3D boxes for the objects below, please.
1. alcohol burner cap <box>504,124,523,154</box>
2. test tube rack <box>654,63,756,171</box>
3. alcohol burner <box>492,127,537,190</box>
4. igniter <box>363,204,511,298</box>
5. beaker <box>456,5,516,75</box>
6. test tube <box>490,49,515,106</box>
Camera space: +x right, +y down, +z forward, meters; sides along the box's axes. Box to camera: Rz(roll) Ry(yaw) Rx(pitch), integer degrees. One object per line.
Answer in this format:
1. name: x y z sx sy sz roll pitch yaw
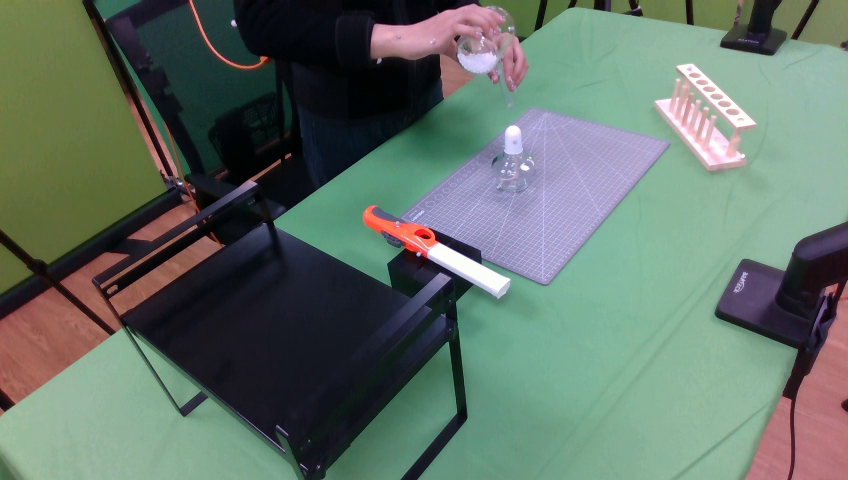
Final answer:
1. alcohol burner cap: 0.151 -0.173 1.022 0.034 0.048 0.033 -4 36 3
2. test tube rack: 0.511 -0.233 1.120 0.067 0.085 0.241 -8 41 -1
3. alcohol burner: 0.156 -0.146 1.046 0.078 0.119 0.077 -4 43 4
4. igniter: 0.007 0.009 0.887 0.274 0.025 0.057 29 50 32
5. beaker: 0.097 -0.313 0.959 0.073 0.084 0.100 11 45 20
6. test tube: 0.142 -0.286 1.079 0.017 0.151 0.017 -7 65 17
